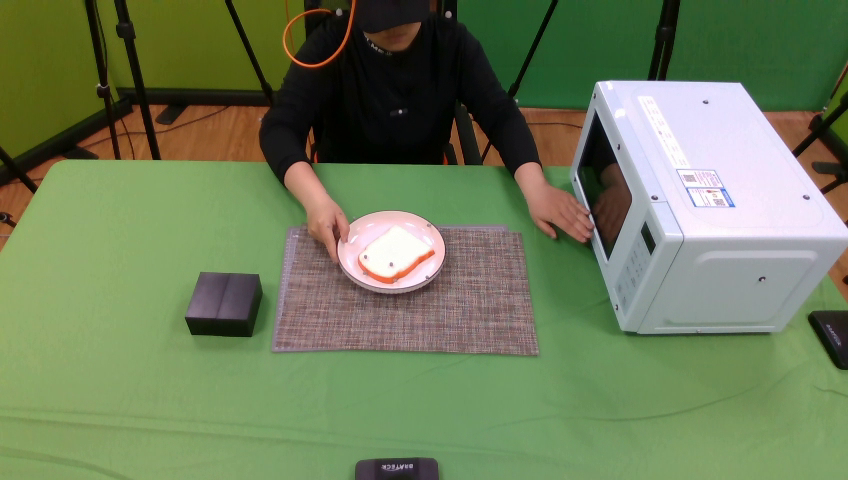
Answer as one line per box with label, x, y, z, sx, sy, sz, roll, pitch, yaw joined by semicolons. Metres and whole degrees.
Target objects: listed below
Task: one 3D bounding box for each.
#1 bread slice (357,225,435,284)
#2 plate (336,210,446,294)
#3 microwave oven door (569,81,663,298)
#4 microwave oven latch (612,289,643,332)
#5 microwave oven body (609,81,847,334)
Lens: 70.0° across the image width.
bread slice;-0.059;0.029;1.153;0.104;0.019;0.131;33;52;26
plate;-0.062;0.026;1.153;0.209;0.038;0.208;3;46;-2
microwave oven door;0.353;-0.104;1.147;0.039;0.245;0.353;0;46;-4
microwave oven latch;0.357;0.124;1.068;0.030;0.029;0.078;0;45;-3
microwave oven body;0.501;-0.070;1.132;0.326;0.261;0.438;0;45;-3
